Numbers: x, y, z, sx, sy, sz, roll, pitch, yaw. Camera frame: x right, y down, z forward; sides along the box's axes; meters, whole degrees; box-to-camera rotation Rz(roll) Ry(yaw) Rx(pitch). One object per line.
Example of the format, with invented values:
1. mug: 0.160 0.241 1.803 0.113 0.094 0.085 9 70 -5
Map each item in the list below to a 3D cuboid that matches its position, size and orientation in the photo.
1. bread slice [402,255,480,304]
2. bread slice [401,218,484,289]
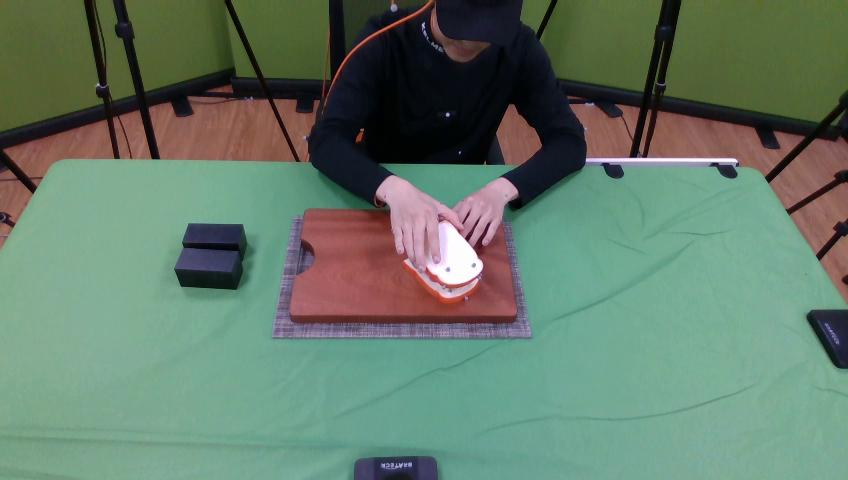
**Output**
1. bread slice: 0.040 0.058 1.106 0.105 0.019 0.131 -29 54 -25
2. bread slice: 0.040 0.026 1.073 0.107 0.018 0.133 -28 63 -30
